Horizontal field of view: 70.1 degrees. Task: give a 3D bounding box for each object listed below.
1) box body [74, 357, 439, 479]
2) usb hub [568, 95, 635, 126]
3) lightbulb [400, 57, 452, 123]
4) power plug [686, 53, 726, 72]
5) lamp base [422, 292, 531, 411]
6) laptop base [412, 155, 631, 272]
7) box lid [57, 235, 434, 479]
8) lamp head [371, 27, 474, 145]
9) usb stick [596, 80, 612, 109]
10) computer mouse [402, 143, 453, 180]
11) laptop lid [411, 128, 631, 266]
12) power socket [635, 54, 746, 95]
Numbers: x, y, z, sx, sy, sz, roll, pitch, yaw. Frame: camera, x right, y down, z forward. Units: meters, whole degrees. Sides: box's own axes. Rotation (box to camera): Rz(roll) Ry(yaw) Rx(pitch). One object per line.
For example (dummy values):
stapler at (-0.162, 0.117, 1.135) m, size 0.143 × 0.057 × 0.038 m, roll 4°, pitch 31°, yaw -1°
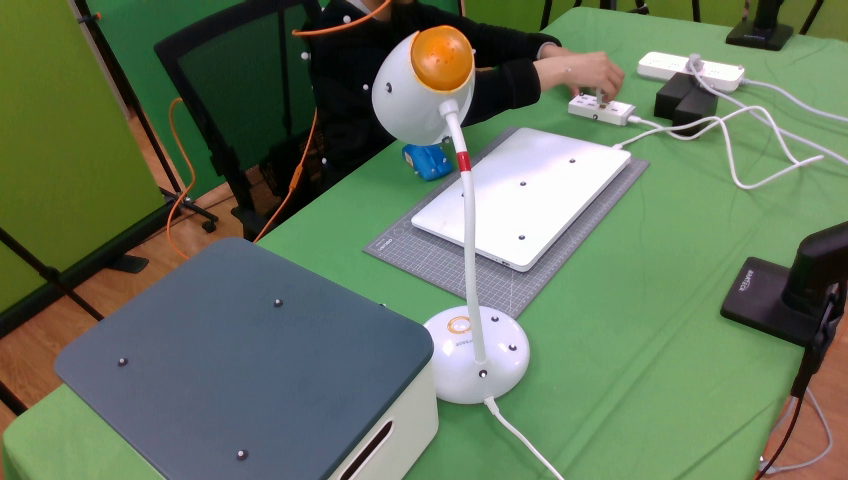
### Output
box body at (-0.189, 0.179, 0.702) m, size 0.361 × 0.161 × 0.255 m, roll 22°, pitch 49°, yaw 32°
usb hub at (0.360, -0.263, 1.228) m, size 0.124 × 0.025 × 0.049 m, roll 24°, pitch 49°, yaw 33°
lightbulb at (0.004, -0.169, 0.668) m, size 0.059 × 0.108 × 0.059 m, roll 1°, pitch 79°, yaw -3°
power plug at (0.584, -0.361, 1.260) m, size 0.072 × 0.053 × 0.035 m, roll 14°, pitch 55°, yaw 16°
lamp base at (0.054, 0.095, 0.740) m, size 0.161 × 0.181 × 0.177 m, roll -19°, pitch 43°, yaw -11°
laptop base at (0.176, -0.084, 1.055) m, size 0.233 × 0.023 × 0.355 m, roll 21°, pitch 48°, yaw 36°
box lid at (-0.198, 0.123, 0.653) m, size 0.368 × 0.015 × 0.264 m, roll 22°, pitch 49°, yaw 32°
lamp head at (0.007, -0.167, 0.644) m, size 0.113 × 0.112 × 0.122 m, roll -22°, pitch 2°, yaw -14°
usb stick at (0.358, -0.287, 1.204) m, size 0.021 × 0.059 × 0.027 m, roll 16°, pitch 44°, yaw 38°
computer mouse at (0.006, -0.159, 1.165) m, size 0.063 × 0.041 × 0.116 m, roll -21°, pitch 45°, yaw -16°
laptop lid at (0.173, -0.093, 1.049) m, size 0.239 × 0.013 × 0.358 m, roll 24°, pitch 50°, yaw 36°
power socket at (0.565, -0.357, 1.293) m, size 0.225 × 0.033 × 0.072 m, roll 24°, pitch 51°, yaw 33°
